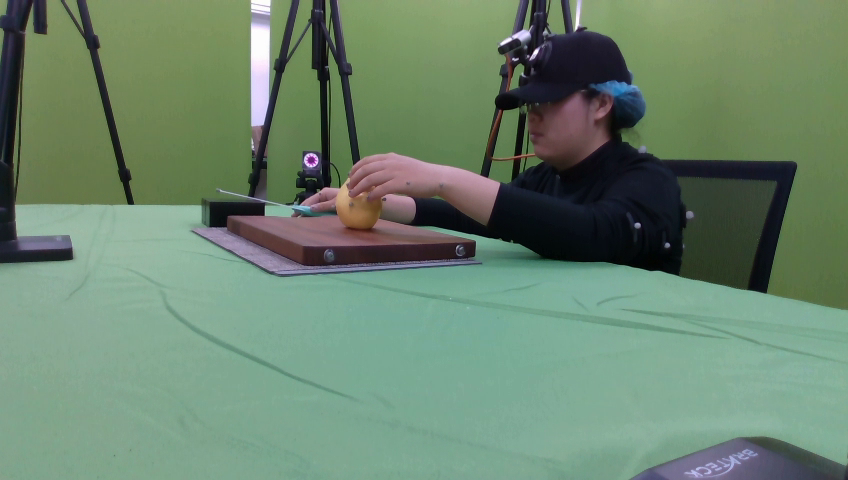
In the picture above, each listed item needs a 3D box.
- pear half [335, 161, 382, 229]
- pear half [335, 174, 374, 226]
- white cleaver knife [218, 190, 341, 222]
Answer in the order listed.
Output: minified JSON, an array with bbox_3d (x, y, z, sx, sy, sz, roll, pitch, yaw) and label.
[{"bbox_3d":[-0.100,-0.072,0.974,0.077,0.110,0.055,-9,14,-39],"label":"pear half"},{"bbox_3d":[-0.121,-0.067,1.004,0.071,0.088,0.031,-14,16,-38],"label":"pear half"},{"bbox_3d":[-0.275,-0.066,1.232,0.288,0.021,0.065,11,7,-28],"label":"white cleaver knife"}]
